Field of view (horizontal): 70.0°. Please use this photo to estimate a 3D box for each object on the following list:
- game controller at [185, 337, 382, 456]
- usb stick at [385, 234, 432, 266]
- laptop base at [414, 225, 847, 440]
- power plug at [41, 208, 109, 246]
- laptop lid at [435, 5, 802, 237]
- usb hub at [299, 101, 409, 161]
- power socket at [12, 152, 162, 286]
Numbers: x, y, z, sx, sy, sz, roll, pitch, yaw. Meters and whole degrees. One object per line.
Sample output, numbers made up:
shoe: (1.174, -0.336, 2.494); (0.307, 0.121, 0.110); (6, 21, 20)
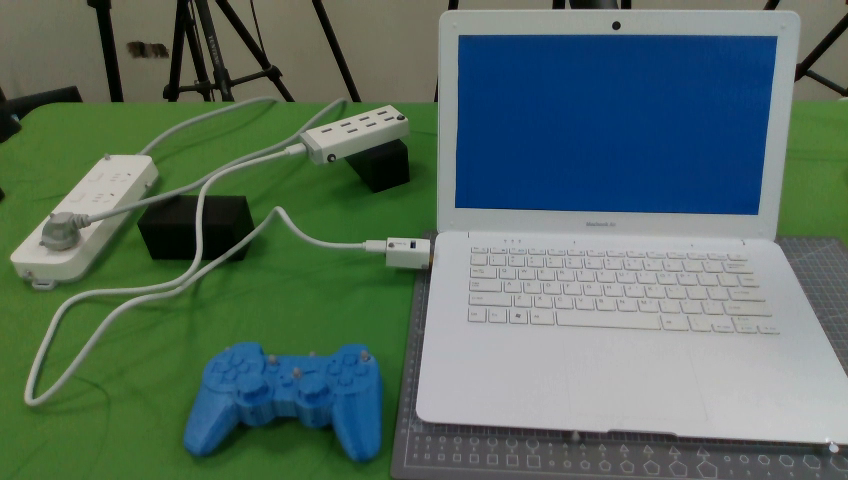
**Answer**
game controller: (-0.109, 0.121, 0.493); (0.155, 0.052, 0.096); (2, 36, 4)
usb stick: (-0.010, 0.010, 0.618); (0.059, 0.027, 0.021); (6, 39, -3)
laptop base: (0.177, 0.073, 0.556); (0.354, 0.023, 0.233); (2, 44, 5)
power plug: (-0.362, -0.006, 0.630); (0.072, 0.053, 0.035); (12, 41, 13)
laptop lid: (0.188, -0.116, 0.620); (0.356, 0.242, 0.013); (0, 12, 5)
usb hub: (-0.083, -0.132, 0.733); (0.125, 0.025, 0.049); (-23, 46, -22)
power socket: (-0.383, -0.036, 0.704); (0.072, 0.033, 0.225); (4, 40, 6)
